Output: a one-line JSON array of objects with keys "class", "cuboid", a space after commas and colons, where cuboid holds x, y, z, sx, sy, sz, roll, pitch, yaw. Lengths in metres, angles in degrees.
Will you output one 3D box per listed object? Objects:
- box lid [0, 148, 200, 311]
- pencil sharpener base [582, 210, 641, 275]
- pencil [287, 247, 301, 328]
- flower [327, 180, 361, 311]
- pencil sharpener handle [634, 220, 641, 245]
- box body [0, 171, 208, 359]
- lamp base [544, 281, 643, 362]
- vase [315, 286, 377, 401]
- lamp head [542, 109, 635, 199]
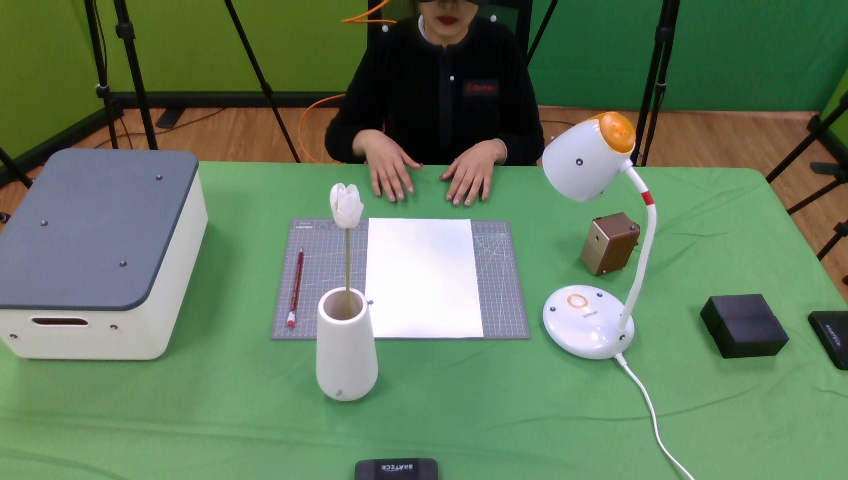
[{"class": "box lid", "cuboid": [-0.536, -0.034, 0.990, 0.263, 0.015, 0.369, 1, 45, -3]}, {"class": "pencil sharpener base", "cuboid": [0.357, 0.005, 1.156, 0.077, 0.107, 0.061, -15, 48, -18]}, {"class": "pencil", "cuboid": [-0.236, 0.081, 1.107, 0.012, 0.012, 0.193, 0, 45, -4]}, {"class": "flower", "cuboid": [-0.110, 0.086, 0.867, 0.044, 0.363, 0.038, 22, 33, 36]}, {"class": "pencil sharpener handle", "cuboid": [0.405, -0.015, 1.161, 0.031, 0.068, 0.035, -15, 44, -17]}, {"class": "box body", "cuboid": [-0.541, 0.021, 1.042, 0.254, 0.161, 0.361, 1, 46, -3]}, {"class": "lamp base", "cuboid": [0.304, 0.095, 1.014, 0.161, 0.181, 0.178, -24, 54, -24]}, {"class": "vase", "cuboid": [-0.119, 0.159, 0.911, 0.098, 0.201, 0.097, 2, 47, -2]}, {"class": "lamp head", "cuboid": [0.253, -0.131, 0.893, 0.113, 0.123, 0.112, 10, 66, -24]}]
